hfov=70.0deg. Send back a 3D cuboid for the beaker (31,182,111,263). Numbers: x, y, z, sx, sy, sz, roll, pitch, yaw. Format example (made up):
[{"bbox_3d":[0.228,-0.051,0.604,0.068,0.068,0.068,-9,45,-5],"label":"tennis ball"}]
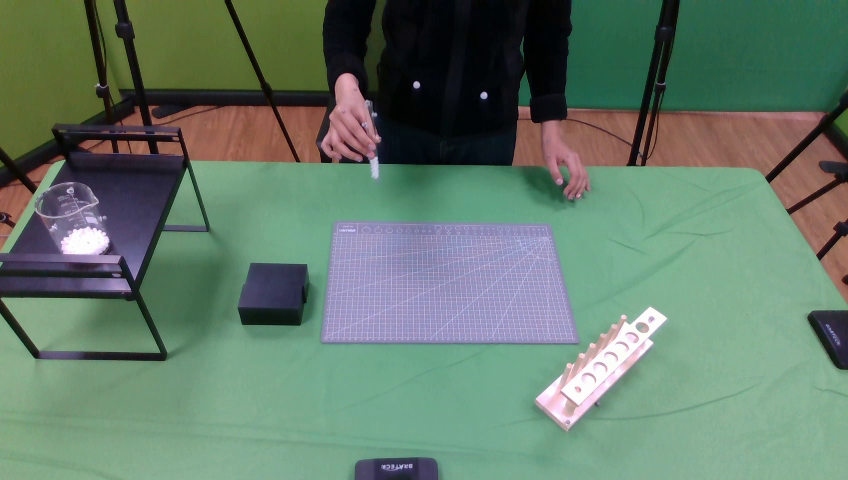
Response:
[{"bbox_3d":[-0.502,-0.022,0.877,0.084,0.101,0.073,-2,47,-7],"label":"beaker"}]

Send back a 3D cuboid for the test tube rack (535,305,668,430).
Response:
[{"bbox_3d":[0.290,0.193,0.984,0.242,0.085,0.066,-32,57,-30],"label":"test tube rack"}]

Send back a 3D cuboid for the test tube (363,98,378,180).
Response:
[{"bbox_3d":[-0.092,-0.171,1.043,0.017,0.151,0.017,-1,35,1],"label":"test tube"}]
